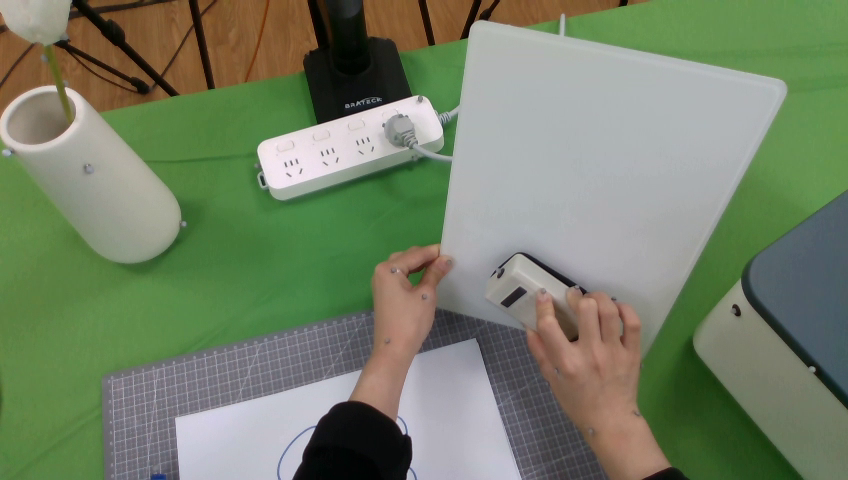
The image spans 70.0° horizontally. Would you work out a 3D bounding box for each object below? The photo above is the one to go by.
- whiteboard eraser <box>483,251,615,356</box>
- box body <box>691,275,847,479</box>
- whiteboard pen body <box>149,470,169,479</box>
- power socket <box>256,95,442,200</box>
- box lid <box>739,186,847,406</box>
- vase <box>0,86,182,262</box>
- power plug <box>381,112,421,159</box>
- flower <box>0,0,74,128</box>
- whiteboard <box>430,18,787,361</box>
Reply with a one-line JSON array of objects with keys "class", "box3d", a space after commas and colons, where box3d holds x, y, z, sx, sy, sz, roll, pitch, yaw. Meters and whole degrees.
[{"class": "whiteboard eraser", "box3d": [0.114, 0.057, 0.554, 0.113, 0.056, 0.041, 33, 40, -9]}, {"class": "box body", "box3d": [0.446, 0.131, 0.506, 0.254, 0.161, 0.361, -31, 67, -14]}, {"class": "whiteboard pen body", "box3d": [-0.229, 0.269, 0.514, 0.017, 0.017, 0.139, -6, 66, -2]}, {"class": "power socket", "box3d": [-0.084, -0.109, 0.702, 0.227, 0.033, 0.071, -18, 65, -9]}, {"class": "box lid", "box3d": [0.444, 0.095, 0.439, 0.263, 0.015, 0.368, -31, 67, -13]}, {"class": "vase", "box3d": [-0.313, -0.056, 0.584, 0.098, 0.201, 0.097, -1, 63, 2]}, {"class": "power plug", "box3d": [-0.026, -0.110, 0.677, 0.035, 0.053, 0.072, -9, 70, -4]}, {"class": "flower", "box3d": [-0.293, -0.091, 0.509, 0.038, 0.363, 0.044, 34, 58, -2]}, {"class": "whiteboard", "box3d": [0.142, -0.060, 0.558, 0.217, 0.308, 0.143, 15, 44, 9]}]
